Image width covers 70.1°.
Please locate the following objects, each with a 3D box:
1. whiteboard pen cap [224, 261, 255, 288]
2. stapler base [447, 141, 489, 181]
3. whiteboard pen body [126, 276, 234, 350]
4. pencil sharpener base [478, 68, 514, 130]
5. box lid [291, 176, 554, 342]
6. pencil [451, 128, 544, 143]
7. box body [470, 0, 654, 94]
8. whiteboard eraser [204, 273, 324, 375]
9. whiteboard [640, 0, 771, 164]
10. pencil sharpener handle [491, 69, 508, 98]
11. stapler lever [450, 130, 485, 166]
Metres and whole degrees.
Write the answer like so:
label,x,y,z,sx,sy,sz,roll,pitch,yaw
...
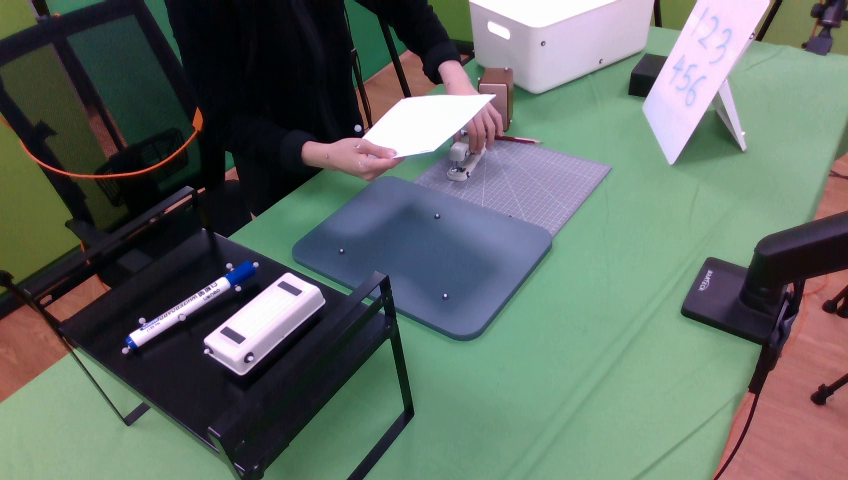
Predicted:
label,x,y,z,sx,sy,sz,roll,pitch,yaw
whiteboard pen cap,-0.207,0.039,0.677,0.033,0.018,0.018,-36,47,-18
stapler base,0.083,-0.159,1.145,0.041,0.024,0.130,15,44,20
whiteboard pen body,-0.251,0.070,0.649,0.141,0.017,0.017,-36,48,-26
pencil sharpener base,0.148,-0.286,1.225,0.061,0.107,0.076,5,42,15
box lid,-0.005,0.011,0.972,0.368,0.015,0.264,21,49,30
pencil,0.145,-0.206,1.204,0.193,0.012,0.012,12,44,20
box body,0.319,-0.498,1.405,0.365,0.161,0.252,-26,43,-21
whiteboard eraser,-0.157,0.084,0.605,0.055,0.042,0.113,24,49,30
whiteboard,0.543,-0.299,1.076,0.144,0.305,0.216,12,40,-7
pencil sharpener handle,0.155,-0.329,1.254,0.036,0.068,0.030,17,44,3
stapler lever,0.082,-0.179,1.130,0.026,0.040,0.118,15,43,20
